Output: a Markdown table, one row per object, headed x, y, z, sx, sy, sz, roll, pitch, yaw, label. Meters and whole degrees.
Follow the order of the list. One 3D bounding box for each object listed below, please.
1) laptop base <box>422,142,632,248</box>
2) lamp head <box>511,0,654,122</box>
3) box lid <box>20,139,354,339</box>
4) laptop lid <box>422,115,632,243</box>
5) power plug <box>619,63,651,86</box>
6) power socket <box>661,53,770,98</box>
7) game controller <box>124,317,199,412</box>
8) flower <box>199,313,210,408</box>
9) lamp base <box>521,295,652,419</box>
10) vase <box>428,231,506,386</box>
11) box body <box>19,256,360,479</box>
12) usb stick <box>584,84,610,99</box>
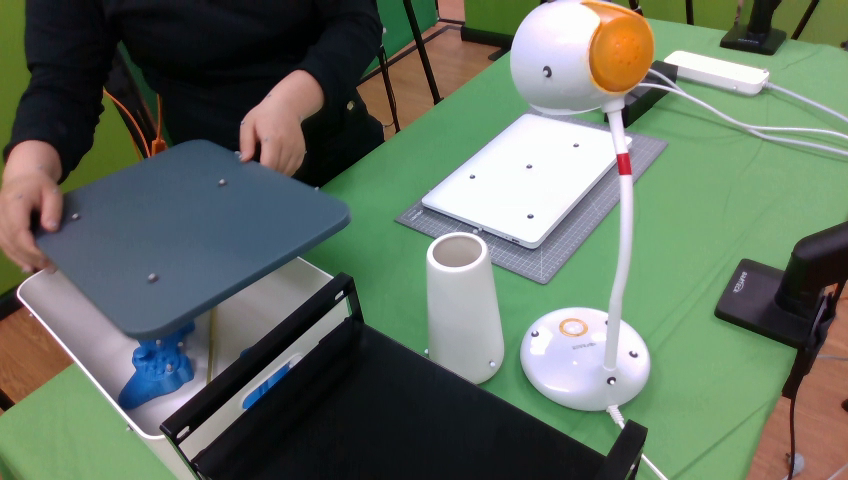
| x | y | z | sx | sy | sz | roll | pitch | yaw | label |
| --- | --- | --- | --- | --- | --- | --- | --- | --- | --- |
| 0.192 | -0.117 | 1.087 | 0.233 | 0.023 | 0.355 | 21 | 47 | 35 | laptop base |
| 0.155 | -0.168 | 0.564 | 0.113 | 0.113 | 0.122 | -18 | 23 | -12 | lamp head |
| -0.284 | -0.027 | 0.706 | 0.368 | 0.015 | 0.264 | 24 | 46 | 38 | box lid |
| 0.189 | -0.126 | 1.081 | 0.239 | 0.013 | 0.358 | 23 | 49 | 35 | laptop lid |
| 0.435 | -0.341 | 1.266 | 0.035 | 0.053 | 0.072 | 5 | 31 | -14 | power plug |
| 0.617 | -0.355 | 1.292 | 0.225 | 0.033 | 0.072 | 29 | 53 | 35 | power socket |
| -0.362 | 0.152 | 0.831 | 0.097 | 0.052 | 0.154 | -16 | 40 | -6 | game controller |
| -0.295 | 0.161 | 0.816 | 0.044 | 0.038 | 0.358 | 4 | 35 | -27 | flower |
| 0.201 | 0.095 | 0.710 | 0.161 | 0.181 | 0.178 | -16 | 43 | -10 | lamp base |
| 0.050 | 0.087 | 0.728 | 0.098 | 0.201 | 0.097 | -3 | 40 | 3 | vase |
| -0.288 | 0.118 | 0.772 | 0.361 | 0.161 | 0.255 | 26 | 50 | 33 | box body |
| 0.354 | -0.306 | 1.252 | 0.027 | 0.021 | 0.058 | -3 | 1 | -39 | usb stick |
